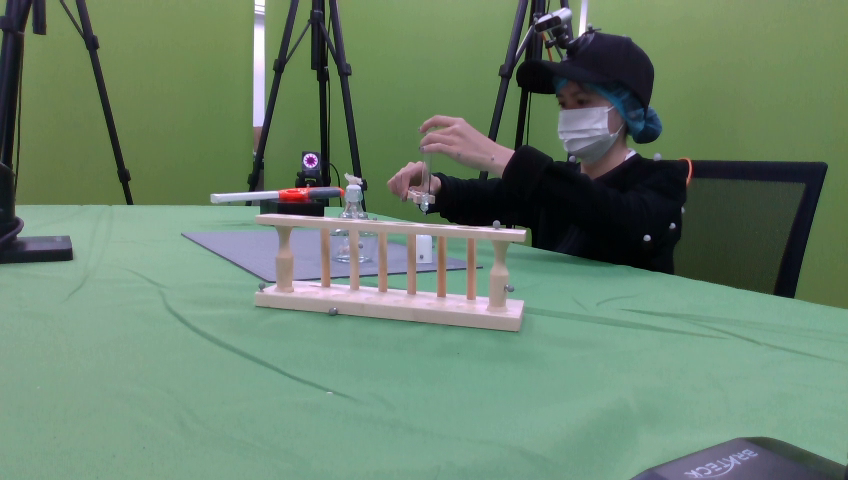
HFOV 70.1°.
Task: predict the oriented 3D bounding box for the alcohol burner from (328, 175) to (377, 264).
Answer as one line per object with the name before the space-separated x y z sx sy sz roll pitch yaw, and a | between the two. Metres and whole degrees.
alcohol burner | -0.098 -0.028 0.819 0.078 0.119 0.078 1 8 0

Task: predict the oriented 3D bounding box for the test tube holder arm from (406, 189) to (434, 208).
test tube holder arm | -0.013 -0.073 1.057 0.010 0.015 0.087 9 12 -39

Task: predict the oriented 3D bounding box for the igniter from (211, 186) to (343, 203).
igniter | -0.300 -0.095 1.266 0.278 0.025 0.057 -6 12 -34

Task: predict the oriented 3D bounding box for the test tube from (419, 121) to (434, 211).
test tube | 0.004 -0.122 1.011 0.017 0.150 0.017 3 11 0

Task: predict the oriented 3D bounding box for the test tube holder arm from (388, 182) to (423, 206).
test tube holder arm | -0.036 -0.086 1.093 0.013 0.015 0.177 14 9 -24

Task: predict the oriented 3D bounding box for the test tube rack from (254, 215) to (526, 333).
test tube rack | -0.030 0.025 0.557 0.242 0.085 0.067 4 7 12

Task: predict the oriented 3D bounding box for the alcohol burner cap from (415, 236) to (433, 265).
alcohol burner cap | -0.004 0.011 0.835 0.034 0.048 0.034 2 7 0
